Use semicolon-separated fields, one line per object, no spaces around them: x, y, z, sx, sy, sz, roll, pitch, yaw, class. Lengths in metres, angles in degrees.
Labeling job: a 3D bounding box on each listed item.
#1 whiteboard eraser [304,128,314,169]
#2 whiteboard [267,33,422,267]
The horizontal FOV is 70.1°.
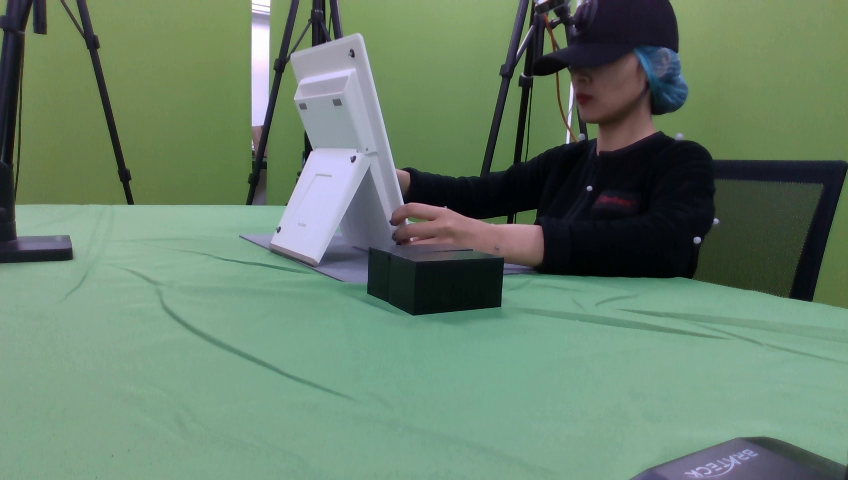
-0.178;-0.137;1.045;0.055;0.112;0.042;10;27;16;whiteboard eraser
-0.153;-0.097;0.818;0.144;0.305;0.216;-24;20;-28;whiteboard
